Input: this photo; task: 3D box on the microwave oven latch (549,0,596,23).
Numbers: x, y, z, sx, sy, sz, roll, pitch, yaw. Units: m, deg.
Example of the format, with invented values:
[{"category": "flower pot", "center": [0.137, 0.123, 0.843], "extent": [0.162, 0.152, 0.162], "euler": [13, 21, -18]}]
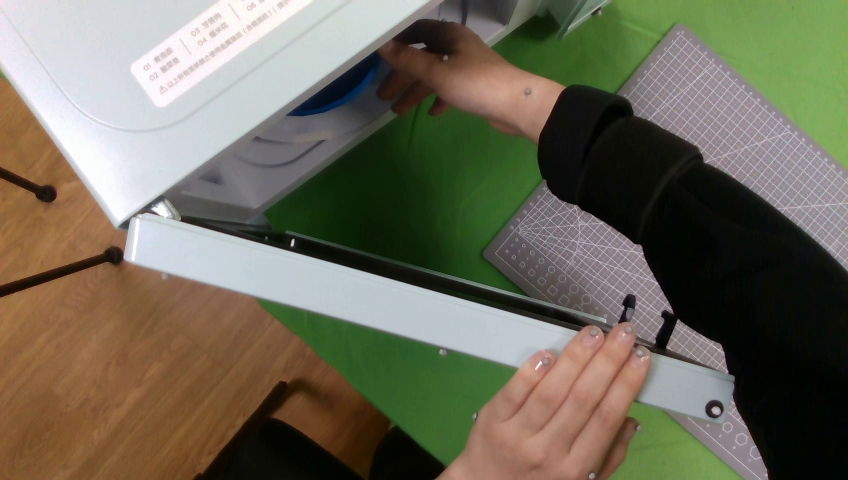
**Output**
[{"category": "microwave oven latch", "center": [0.156, -0.235, 0.557], "extent": [0.079, 0.029, 0.030], "euler": [-34, 92, 0]}]

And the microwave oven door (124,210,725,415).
[{"category": "microwave oven door", "center": [0.002, 0.039, 0.459], "extent": [0.356, 0.243, 0.039], "euler": [16, 90, -2]}]

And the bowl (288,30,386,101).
[{"category": "bowl", "center": [-0.100, -0.178, 0.486], "extent": [0.151, 0.077, 0.151], "euler": [0, 88, -1]}]

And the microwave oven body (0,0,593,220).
[{"category": "microwave oven body", "center": [-0.074, -0.251, 0.455], "extent": [0.442, 0.260, 0.326], "euler": [-36, 92, 0]}]
